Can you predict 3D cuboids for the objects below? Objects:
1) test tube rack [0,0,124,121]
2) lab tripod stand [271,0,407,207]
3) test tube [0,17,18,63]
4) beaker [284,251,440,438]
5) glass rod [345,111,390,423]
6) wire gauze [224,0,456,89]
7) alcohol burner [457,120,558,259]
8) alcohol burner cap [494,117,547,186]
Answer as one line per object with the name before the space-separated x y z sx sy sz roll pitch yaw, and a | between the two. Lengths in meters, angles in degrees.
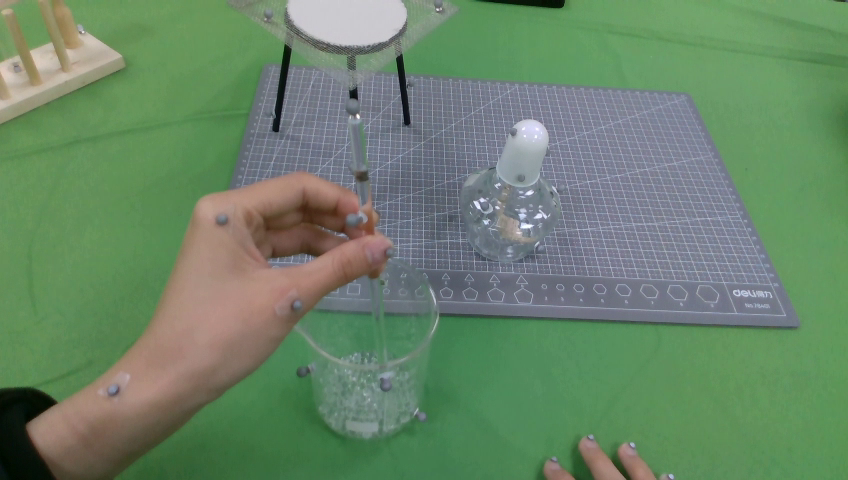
test tube rack | -0.390 -0.148 0.507 0.066 0.086 0.242 34 54 20
lab tripod stand | -0.062 -0.122 0.490 0.148 0.132 0.147 5 50 -5
test tube | -0.375 -0.216 0.501 0.017 0.151 0.017 2 47 -1
beaker | -0.036 0.067 0.359 0.084 0.101 0.073 -5 50 -10
glass rod | -0.028 0.028 0.314 0.008 0.201 0.008 -1 35 1
wire gauze | -0.058 -0.166 0.439 0.124 0.011 0.121 35 55 19
alcohol burner | 0.066 -0.041 0.450 0.078 0.120 0.077 5 48 -5
alcohol burner cap | 0.069 -0.064 0.422 0.034 0.048 0.033 3 54 -4
